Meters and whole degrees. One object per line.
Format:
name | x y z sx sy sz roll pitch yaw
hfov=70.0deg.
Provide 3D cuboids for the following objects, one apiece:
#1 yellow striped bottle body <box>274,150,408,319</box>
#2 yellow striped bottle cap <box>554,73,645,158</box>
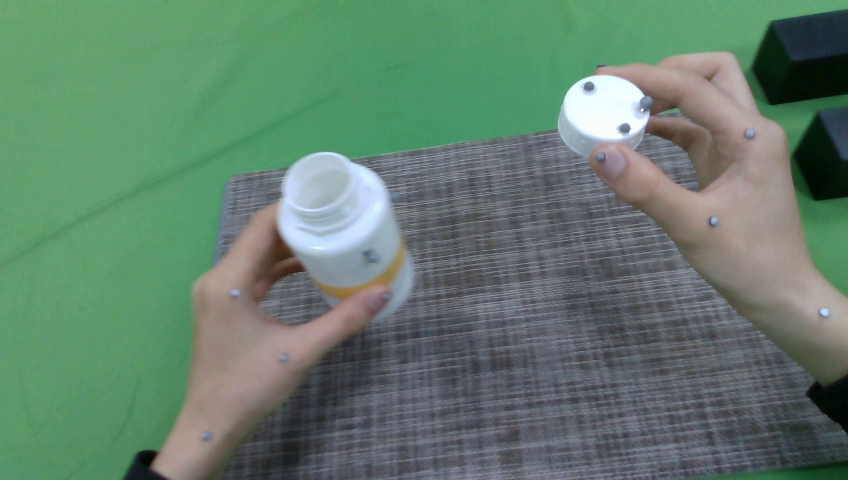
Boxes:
yellow striped bottle body | -0.049 -0.003 0.364 0.063 0.121 0.062 -3 61 7
yellow striped bottle cap | 0.091 -0.065 0.316 0.044 0.019 0.044 0 62 1
